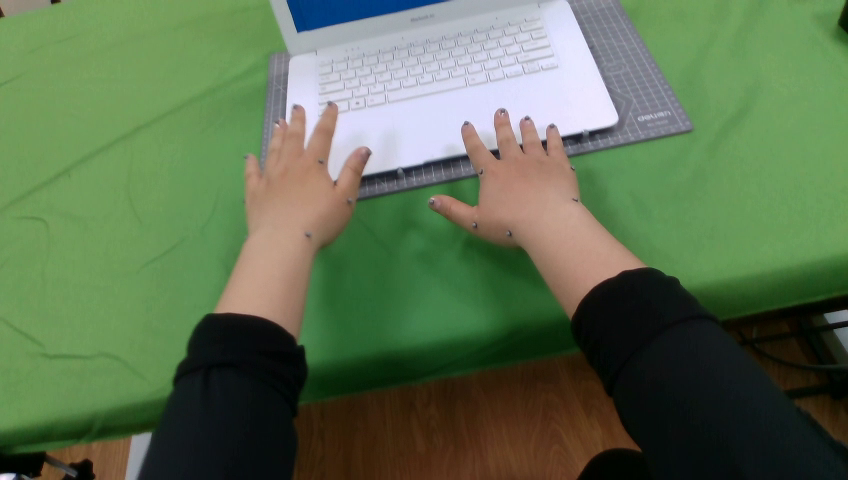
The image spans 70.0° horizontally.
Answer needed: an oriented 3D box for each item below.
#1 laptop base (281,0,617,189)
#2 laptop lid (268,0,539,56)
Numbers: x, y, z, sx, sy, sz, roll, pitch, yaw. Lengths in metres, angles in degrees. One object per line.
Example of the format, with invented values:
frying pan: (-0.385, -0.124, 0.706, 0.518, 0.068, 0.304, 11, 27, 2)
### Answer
laptop base: (0.013, -0.171, 0.691, 0.354, 0.023, 0.233, -11, 54, 4)
laptop lid: (-0.022, -0.347, 0.683, 0.356, 0.244, 0.013, -12, 43, 5)
